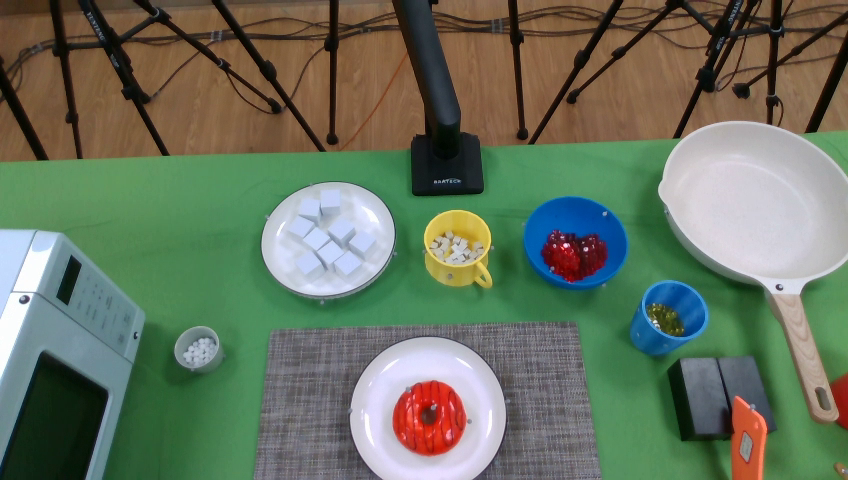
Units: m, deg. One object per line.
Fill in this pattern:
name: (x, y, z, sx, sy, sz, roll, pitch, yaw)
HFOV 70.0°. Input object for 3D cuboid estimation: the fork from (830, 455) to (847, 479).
fork: (0.516, 0.302, 0.700, 0.209, 0.018, 0.028, 44, 63, -26)

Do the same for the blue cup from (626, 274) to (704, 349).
blue cup: (0.324, 0.107, 0.838, 0.092, 0.101, 0.092, 0, 62, 0)

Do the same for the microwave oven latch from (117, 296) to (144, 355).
microwave oven latch: (-0.420, 0.120, 0.855, 0.030, 0.030, 0.078, 3, 62, 2)

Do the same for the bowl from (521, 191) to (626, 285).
bowl: (0.216, 0.009, 0.907, 0.151, 0.077, 0.150, 0, 61, 1)

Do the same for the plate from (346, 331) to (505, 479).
plate: (0.002, 0.224, 0.809, 0.209, 0.038, 0.207, 0, 61, 1)

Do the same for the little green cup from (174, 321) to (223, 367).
little green cup: (-0.317, 0.150, 0.857, 0.061, 0.039, 0.061, 0, 62, 1)

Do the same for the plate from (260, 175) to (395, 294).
plate: (-0.147, -0.007, 0.944, 0.208, 0.039, 0.206, 0, 61, 1)

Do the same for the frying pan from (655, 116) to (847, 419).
frying pan: (0.499, 0.022, 0.881, 0.307, 0.103, 0.483, 3, 53, 4)

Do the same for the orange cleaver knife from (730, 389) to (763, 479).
orange cleaver knife: (0.396, 0.294, 0.745, 0.012, 0.077, 0.211, -2, 90, 0)

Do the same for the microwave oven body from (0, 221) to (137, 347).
microwave oven body: (-0.576, 0.224, 0.690, 0.326, 0.262, 0.438, 2, 62, 1)

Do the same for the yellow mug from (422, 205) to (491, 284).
yellow mug: (0.057, 0.016, 0.912, 0.100, 0.064, 0.130, -35, 67, -17)

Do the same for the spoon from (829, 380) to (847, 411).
spoon: (0.621, 0.191, 0.763, 0.193, 0.022, 0.041, -19, 51, 42)

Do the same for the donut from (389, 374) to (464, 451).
donut: (0.003, 0.226, 0.795, 0.099, 0.048, 0.098, -1, 65, 2)

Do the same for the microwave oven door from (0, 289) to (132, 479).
microwave oven door: (-0.432, 0.262, 0.661, 0.039, 0.246, 0.352, 1, 61, 2)
